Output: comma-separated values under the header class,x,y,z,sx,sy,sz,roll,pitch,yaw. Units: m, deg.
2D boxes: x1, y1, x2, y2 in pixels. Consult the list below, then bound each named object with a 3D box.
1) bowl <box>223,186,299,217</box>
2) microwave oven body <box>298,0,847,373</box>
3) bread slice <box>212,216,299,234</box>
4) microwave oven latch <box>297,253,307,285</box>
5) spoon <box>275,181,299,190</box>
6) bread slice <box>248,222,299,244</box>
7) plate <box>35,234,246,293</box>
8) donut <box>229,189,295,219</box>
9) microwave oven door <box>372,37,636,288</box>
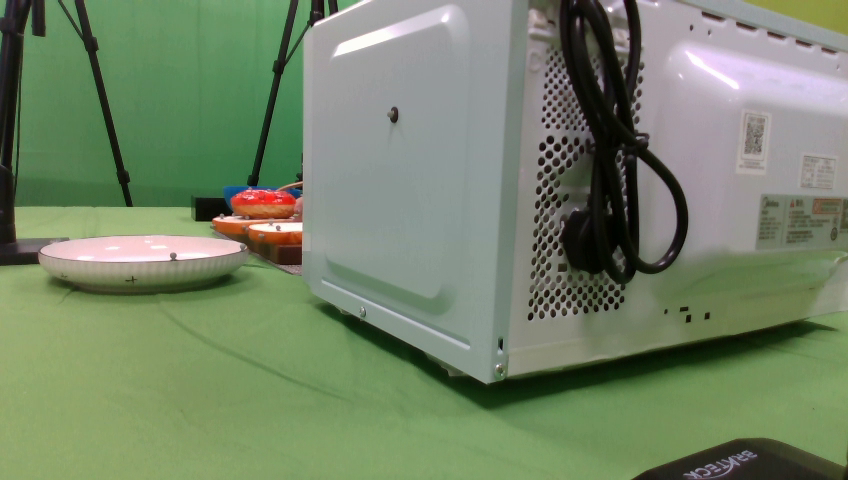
class,x,y,z,sx,sy,sz,roll,pitch,yaw
bowl,-0.330,-0.068,1.230,0.151,0.077,0.151,3,7,0
microwave oven body,0.151,-0.055,0.542,0.444,0.260,0.324,-2,7,-33
bread slice,-0.256,-0.026,0.936,0.132,0.019,0.104,-5,9,-39
microwave oven latch,-0.082,0.027,0.582,0.079,0.029,0.030,-1,7,-32
spoon,-0.301,-0.101,1.260,0.041,0.021,0.194,13,30,33
bread slice,-0.174,-0.012,0.844,0.135,0.018,0.106,-6,10,-44
plate,-0.305,0.026,0.668,0.208,0.039,0.207,3,7,0
donut,-0.250,-0.056,0.941,0.099,0.048,0.099,2,7,0
microwave oven door,0.110,-0.080,0.686,0.358,0.243,0.039,-2,9,-33
